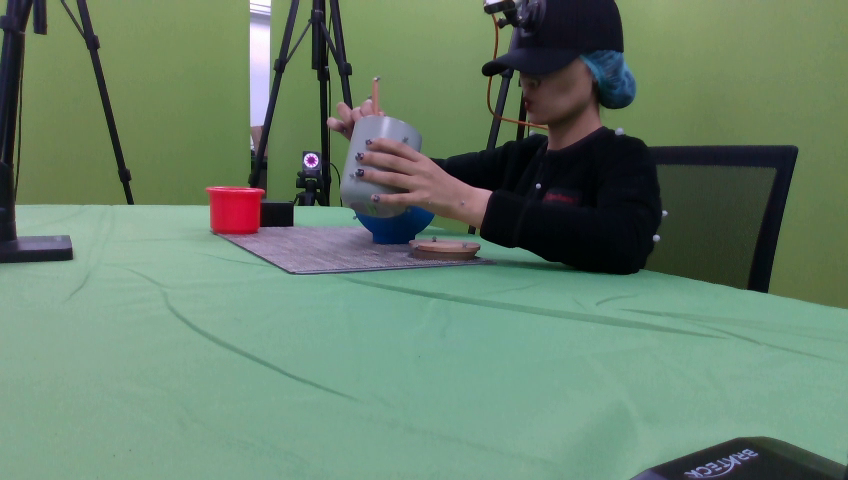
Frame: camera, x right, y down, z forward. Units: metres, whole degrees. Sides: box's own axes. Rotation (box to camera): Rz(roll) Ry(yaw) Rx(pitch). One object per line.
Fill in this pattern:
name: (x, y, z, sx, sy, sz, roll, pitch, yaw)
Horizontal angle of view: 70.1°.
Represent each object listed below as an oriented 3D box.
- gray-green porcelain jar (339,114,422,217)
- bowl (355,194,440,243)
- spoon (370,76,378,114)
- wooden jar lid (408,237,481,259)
gray-green porcelain jar: (-0.065, -0.105, 0.893, 0.106, 0.126, 0.106, 10, -15, 3)
bowl: (-0.050, -0.038, 1.033, 0.151, 0.077, 0.151, 3, 7, 0)
spoon: (-0.081, -0.162, 0.928, 0.022, 0.193, 0.041, 11, -16, -24)
wooden jar lid: (0.031, 0.012, 0.895, 0.108, 0.020, 0.108, 2, 8, 0)
